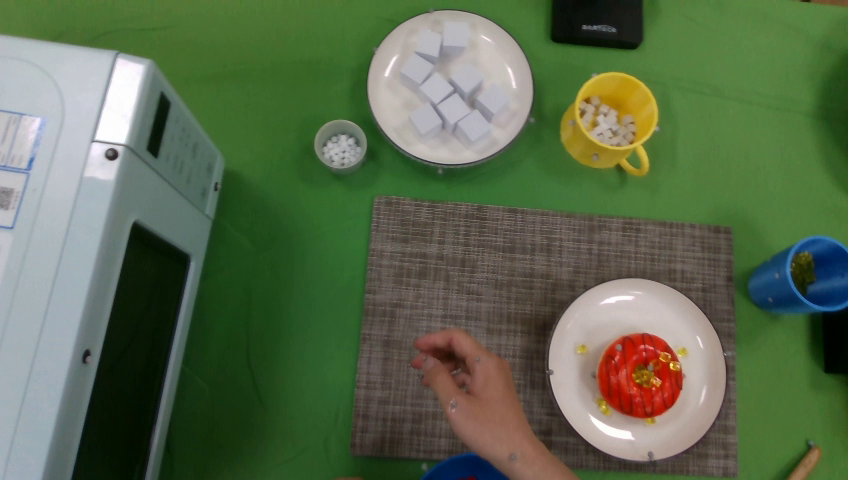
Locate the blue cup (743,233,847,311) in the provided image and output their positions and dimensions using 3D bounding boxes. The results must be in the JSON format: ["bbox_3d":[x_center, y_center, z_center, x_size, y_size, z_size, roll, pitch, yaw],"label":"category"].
[{"bbox_3d":[0.428,0.045,0.705,0.093,0.100,0.092,1,77,-5],"label":"blue cup"}]

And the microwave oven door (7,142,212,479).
[{"bbox_3d":[-0.278,0.117,0.553,0.039,0.244,0.354,8,78,-1],"label":"microwave oven door"}]

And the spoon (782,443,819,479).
[{"bbox_3d":[0.392,0.302,0.691,0.193,0.022,0.041,-40,67,-10],"label":"spoon"}]

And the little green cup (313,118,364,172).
[{"bbox_3d":[-0.102,-0.112,0.732,0.061,0.039,0.061,1,79,-4],"label":"little green cup"}]

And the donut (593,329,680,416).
[{"bbox_3d":[0.241,0.151,0.688,0.099,0.048,0.098,0,82,-2],"label":"donut"}]

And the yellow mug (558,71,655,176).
[{"bbox_3d":[0.232,-0.136,0.747,0.100,0.064,0.130,-32,83,-9],"label":"yellow mug"}]

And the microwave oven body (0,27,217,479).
[{"bbox_3d":[-0.418,0.056,0.561,0.326,0.261,0.440,8,79,-2],"label":"microwave oven body"}]

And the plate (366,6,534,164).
[{"bbox_3d":[0.032,-0.191,0.758,0.208,0.039,0.206,1,79,-3],"label":"plate"}]

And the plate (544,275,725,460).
[{"bbox_3d":[0.238,0.144,0.701,0.209,0.038,0.208,1,79,-3],"label":"plate"}]

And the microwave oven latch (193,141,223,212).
[{"bbox_3d":[-0.253,-0.074,0.697,0.030,0.029,0.079,10,79,-2],"label":"microwave oven latch"}]

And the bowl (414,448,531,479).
[{"bbox_3d":[0.047,0.294,0.642,0.151,0.077,0.150,1,78,-3],"label":"bowl"}]
